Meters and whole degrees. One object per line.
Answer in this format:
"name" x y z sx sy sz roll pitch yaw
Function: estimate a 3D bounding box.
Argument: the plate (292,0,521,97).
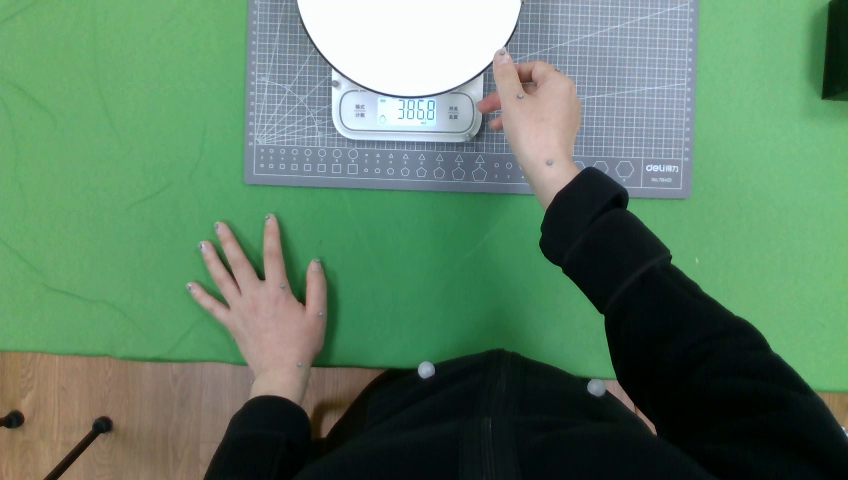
"plate" -0.016 -0.233 0.559 0.209 0.038 0.209 0 91 -2

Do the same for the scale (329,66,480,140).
"scale" -0.018 -0.202 0.593 0.149 0.031 0.201 1 92 -1
